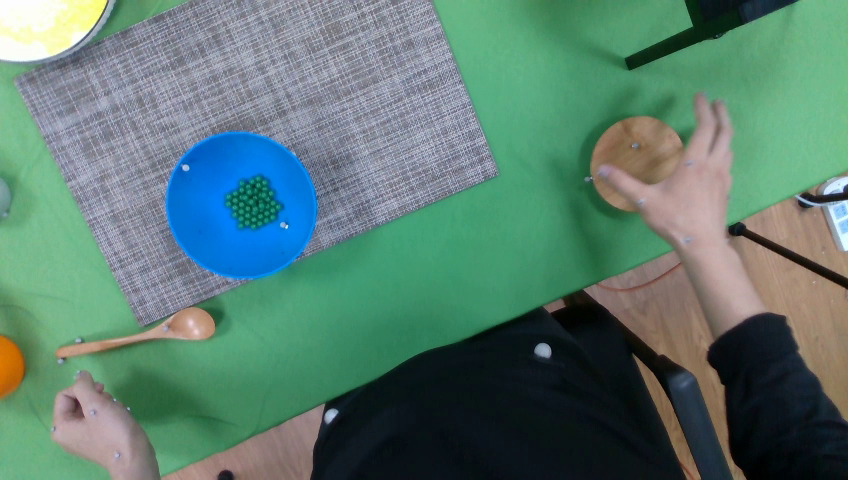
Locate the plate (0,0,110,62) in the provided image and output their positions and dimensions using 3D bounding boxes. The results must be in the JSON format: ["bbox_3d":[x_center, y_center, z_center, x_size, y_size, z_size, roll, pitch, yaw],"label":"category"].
[{"bbox_3d":[-0.421,-0.288,0.622,0.209,0.038,0.209,-1,99,-3],"label":"plate"}]

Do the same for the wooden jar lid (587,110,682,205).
[{"bbox_3d":[0.240,-0.094,0.696,0.108,0.020,0.108,0,100,-2],"label":"wooden jar lid"}]

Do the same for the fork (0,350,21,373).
[{"bbox_3d":[-0.543,0.151,0.631,0.208,0.018,0.028,-12,105,-45],"label":"fork"}]

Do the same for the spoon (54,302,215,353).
[{"bbox_3d":[-0.335,0.106,0.698,0.194,0.021,0.042,-13,113,-1],"label":"spoon"}]

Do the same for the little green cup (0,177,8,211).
[{"bbox_3d":[-0.489,-0.050,0.656,0.061,0.038,0.062,0,100,-2],"label":"little green cup"}]

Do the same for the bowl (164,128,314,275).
[{"bbox_3d":[-0.188,-0.043,0.649,0.151,0.076,0.151,0,99,-3],"label":"bowl"}]
